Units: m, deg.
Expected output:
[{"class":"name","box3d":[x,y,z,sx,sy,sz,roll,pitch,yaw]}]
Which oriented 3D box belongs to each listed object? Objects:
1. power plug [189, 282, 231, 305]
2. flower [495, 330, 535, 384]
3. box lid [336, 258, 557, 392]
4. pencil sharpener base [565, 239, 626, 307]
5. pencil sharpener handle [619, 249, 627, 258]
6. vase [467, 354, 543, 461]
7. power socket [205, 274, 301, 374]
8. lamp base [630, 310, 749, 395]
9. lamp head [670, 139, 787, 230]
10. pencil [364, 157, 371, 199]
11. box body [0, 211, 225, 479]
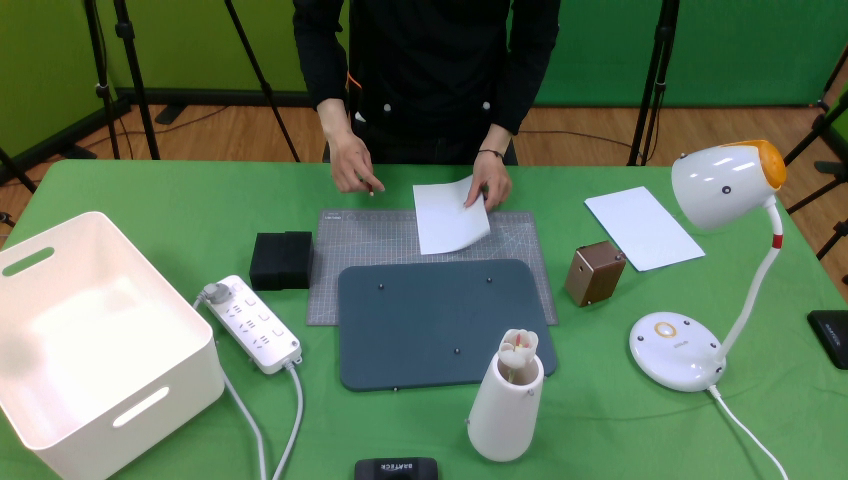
[{"class":"power plug","box3d":[-0.368,0.097,1.039,0.072,0.053,0.035,-26,55,-20]},{"class":"flower","box3d":[0.111,0.187,0.791,0.044,0.363,0.038,-32,65,-10]},{"class":"box lid","box3d":[0.030,0.140,1.073,0.372,0.015,0.261,-3,47,-7]},{"class":"pencil sharpener base","box3d":[0.313,0.060,1.104,0.077,0.107,0.061,-15,49,-18]},{"class":"pencil sharpener handle","box3d":[0.359,0.036,1.113,0.031,0.068,0.036,-15,62,-18]},{"class":"vase","box3d":[0.116,0.234,0.861,0.098,0.201,0.097,1,47,-1]},{"class":"power socket","box3d":[-0.296,0.140,1.035,0.072,0.033,0.225,-32,57,-29]},{"class":"lamp base","box3d":[0.447,0.142,0.984,0.161,0.181,0.178,-24,55,-24]},{"class":"lamp head","box3d":[0.415,-0.079,0.812,0.113,0.123,0.112,13,70,-37]},{"class":"pencil","box3d":[-0.112,-0.124,1.202,0.012,0.012,0.193,-2,30,-6]},{"class":"box body","box3d":[-0.504,0.154,0.916,0.362,0.161,0.254,36,54,27]}]
